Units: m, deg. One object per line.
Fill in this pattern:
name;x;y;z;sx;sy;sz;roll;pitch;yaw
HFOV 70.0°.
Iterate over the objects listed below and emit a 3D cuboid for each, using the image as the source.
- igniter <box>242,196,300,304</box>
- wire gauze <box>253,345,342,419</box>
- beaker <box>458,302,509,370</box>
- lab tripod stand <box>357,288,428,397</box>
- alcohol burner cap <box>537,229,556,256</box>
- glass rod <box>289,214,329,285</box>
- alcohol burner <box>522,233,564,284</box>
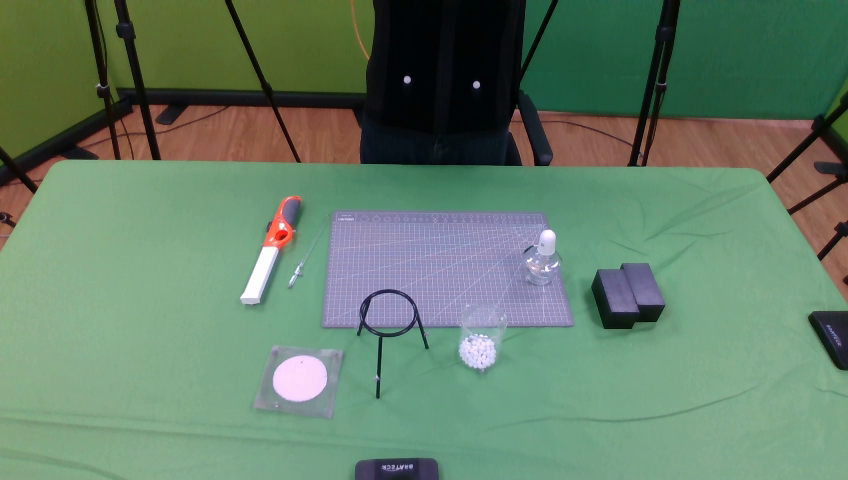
igniter;-0.290;0.010;1.164;0.057;0.025;0.275;0;45;10
wire gauze;-0.200;0.224;0.979;0.125;0.011;0.121;7;47;0
beaker;0.092;0.159;0.999;0.083;0.101;0.074;35;53;28
lab tripod stand;-0.058;0.155;0.967;0.148;0.132;0.147;3;47;-3
alcohol burner cap;0.223;0.001;1.095;0.034;0.048;0.033;-1;44;1
glass rod;-0.222;0.014;1.179;0.008;0.008;0.199;12;46;8
alcohol burner;0.223;0.027;1.121;0.078;0.119;0.077;2;48;-2
